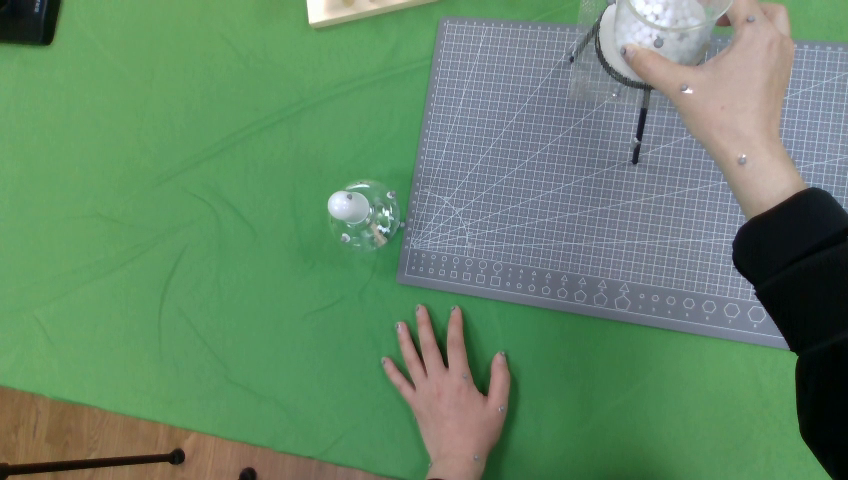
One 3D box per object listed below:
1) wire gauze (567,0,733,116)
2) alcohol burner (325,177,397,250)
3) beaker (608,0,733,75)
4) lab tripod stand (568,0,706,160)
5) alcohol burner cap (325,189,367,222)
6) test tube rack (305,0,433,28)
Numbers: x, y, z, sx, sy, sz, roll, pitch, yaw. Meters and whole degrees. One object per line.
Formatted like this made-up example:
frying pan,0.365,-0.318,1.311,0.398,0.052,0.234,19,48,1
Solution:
wire gauze,0.185,-0.166,0.491,0.124,0.011,0.121,8,88,13
alcohol burner,-0.069,-0.030,0.616,0.078,0.119,0.077,-1,82,11
beaker,0.170,-0.168,0.437,0.083,0.100,0.074,23,91,12
lab tripod stand,0.199,-0.159,0.557,0.148,0.132,0.148,-1,86,11
alcohol burner cap,-0.077,-0.034,0.582,0.034,0.048,0.034,0,88,12
test tube rack,-0.027,-0.301,0.647,0.242,0.085,0.066,-9,82,11
